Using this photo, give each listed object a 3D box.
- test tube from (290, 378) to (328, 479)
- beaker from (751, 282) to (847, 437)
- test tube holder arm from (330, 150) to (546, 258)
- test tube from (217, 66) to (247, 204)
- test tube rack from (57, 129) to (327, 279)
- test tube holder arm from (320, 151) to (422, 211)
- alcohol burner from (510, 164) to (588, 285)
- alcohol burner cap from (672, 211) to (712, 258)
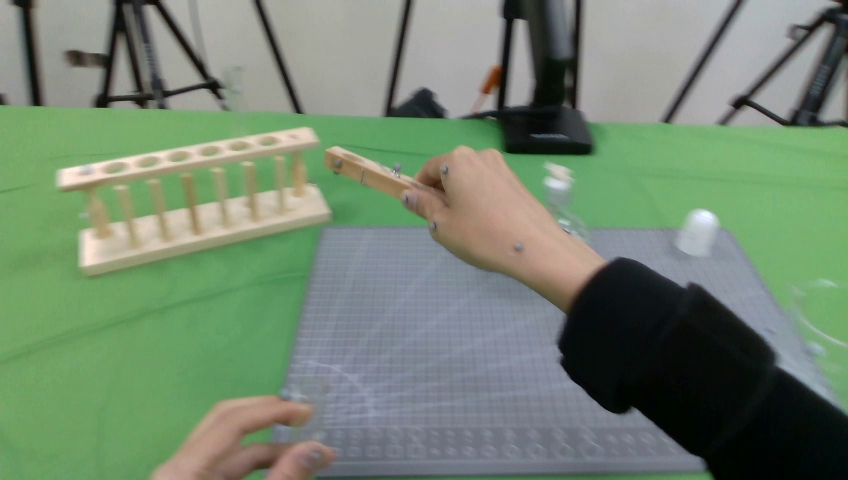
[{"bbox_3d":[-0.067,0.138,0.335,0.017,0.151,0.017,8,28,-4],"label":"test tube"},{"bbox_3d":[0.296,0.091,0.456,0.074,0.101,0.083,-18,41,-24],"label":"beaker"},{"bbox_3d":[0.004,-0.028,0.430,0.177,0.015,0.013,24,34,19],"label":"test tube holder arm"},{"bbox_3d":[-0.194,-0.103,0.623,0.017,0.151,0.017,2,35,-1],"label":"test tube"},{"bbox_3d":[-0.229,-0.042,0.623,0.243,0.086,0.066,-15,40,-21],"label":"test tube rack"},{"bbox_3d":[-0.038,-0.043,0.440,0.087,0.015,0.010,24,34,19],"label":"test tube holder arm"},{"bbox_3d":[0.120,-0.017,0.578,0.078,0.120,0.077,0,36,0],"label":"alcohol burner"},{"bbox_3d":[0.282,-0.009,0.633,0.034,0.048,0.033,1,38,-1],"label":"alcohol burner cap"}]
